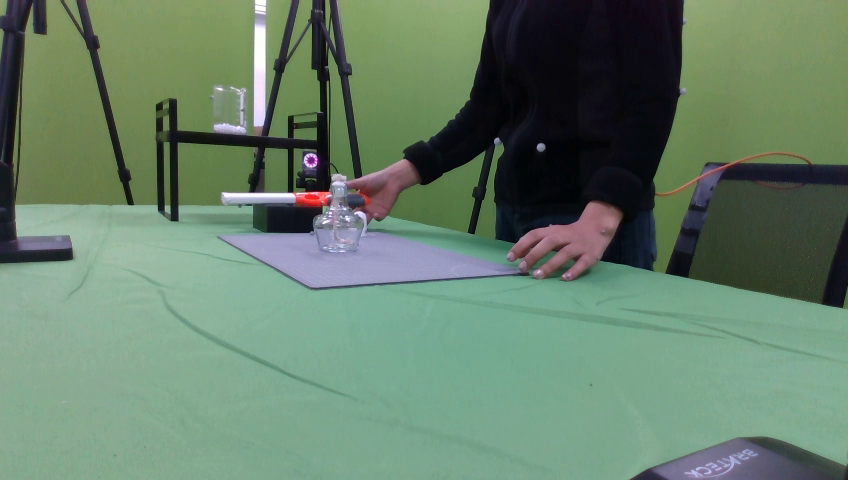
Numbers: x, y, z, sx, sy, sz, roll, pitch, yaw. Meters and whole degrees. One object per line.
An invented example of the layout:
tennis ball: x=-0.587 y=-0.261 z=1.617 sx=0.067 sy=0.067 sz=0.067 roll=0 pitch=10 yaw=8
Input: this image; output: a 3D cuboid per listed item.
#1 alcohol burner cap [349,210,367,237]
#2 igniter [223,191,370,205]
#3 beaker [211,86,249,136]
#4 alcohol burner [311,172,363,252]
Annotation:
alcohol burner cap: x=-0.118 y=-0.030 z=1.095 sx=0.034 sy=0.048 sz=0.034 roll=2 pitch=8 yaw=0
igniter: x=-0.239 y=-0.080 z=1.159 sx=0.278 sy=0.025 sz=0.057 roll=-2 pitch=20 yaw=-26
beaker: x=-0.413 y=-0.274 z=1.297 sx=0.074 sy=0.100 sz=0.083 roll=-5 pitch=11 yaw=-44
alcohol burner: x=-0.130 y=-0.042 z=0.906 sx=0.078 sy=0.119 sz=0.078 roll=2 pitch=6 yaw=0
